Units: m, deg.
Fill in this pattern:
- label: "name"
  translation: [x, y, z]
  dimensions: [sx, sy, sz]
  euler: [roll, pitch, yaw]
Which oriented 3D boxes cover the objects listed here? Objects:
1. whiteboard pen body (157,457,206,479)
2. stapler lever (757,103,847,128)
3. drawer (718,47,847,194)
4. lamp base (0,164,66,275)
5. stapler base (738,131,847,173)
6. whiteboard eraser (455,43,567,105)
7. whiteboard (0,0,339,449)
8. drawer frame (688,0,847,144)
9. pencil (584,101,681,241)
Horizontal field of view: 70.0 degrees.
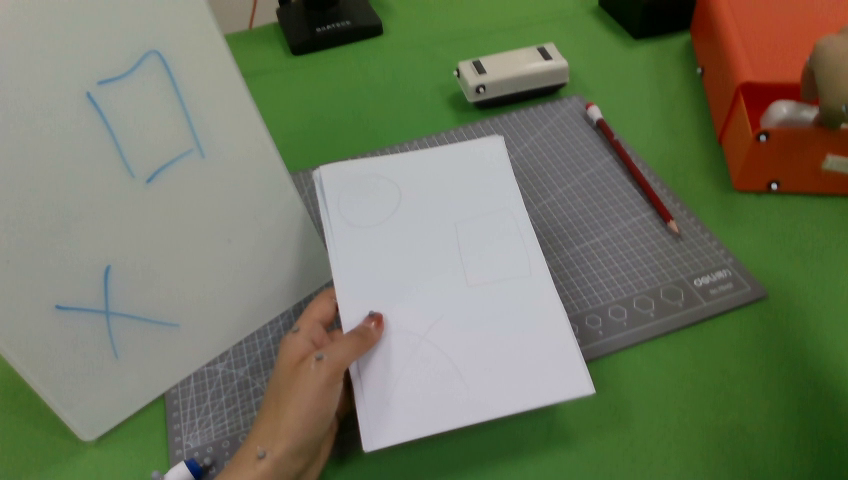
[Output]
- label: "whiteboard pen body"
  translation: [-0.201, 0.182, 0.372]
  dimensions: [0.141, 0.017, 0.017]
  euler: [-32, 52, -24]
- label: "stapler lever"
  translation: [0.355, -0.097, 0.529]
  dimensions: [0.118, 0.040, 0.026]
  euler: [3, 46, 7]
- label: "drawer"
  translation: [0.378, -0.135, 0.565]
  dimensions: [0.194, 0.074, 0.210]
  euler: [2, 48, 9]
- label: "lamp base"
  translation: [-0.439, -0.068, 0.515]
  dimensions: [0.178, 0.182, 0.159]
  euler: [13, 50, 20]
- label: "stapler base"
  translation: [0.354, -0.083, 0.542]
  dimensions: [0.130, 0.024, 0.041]
  euler: [8, 47, 2]
- label: "whiteboard eraser"
  translation: [0.094, -0.178, 0.656]
  dimensions: [0.113, 0.042, 0.055]
  euler: [-13, 49, -6]
- label: "whiteboard"
  translation: [-0.235, -0.052, 0.436]
  dimensions: [0.217, 0.308, 0.142]
  euler: [-35, 34, -22]
- label: "drawer frame"
  translation: [0.387, -0.184, 0.605]
  dimensions: [0.201, 0.083, 0.211]
  euler: [2, 48, 9]
- label: "pencil"
  translation: [0.192, -0.070, 0.568]
  dimensions: [0.012, 0.012, 0.192]
  euler: [-13, 51, -6]
